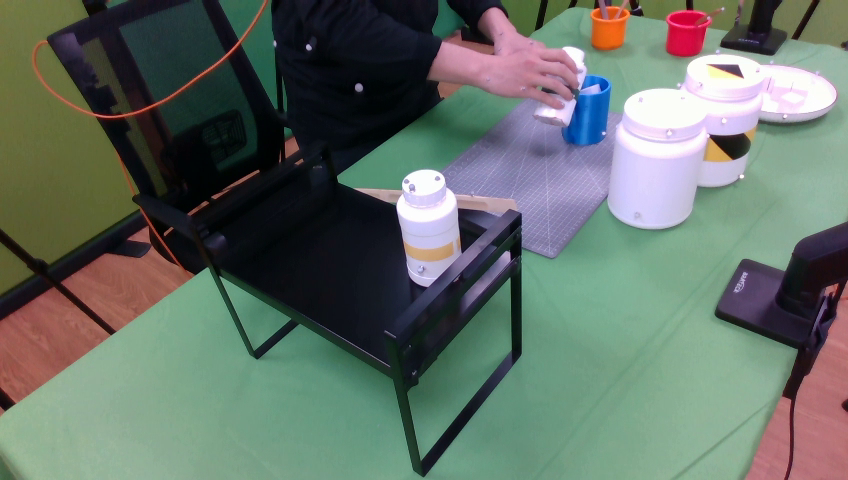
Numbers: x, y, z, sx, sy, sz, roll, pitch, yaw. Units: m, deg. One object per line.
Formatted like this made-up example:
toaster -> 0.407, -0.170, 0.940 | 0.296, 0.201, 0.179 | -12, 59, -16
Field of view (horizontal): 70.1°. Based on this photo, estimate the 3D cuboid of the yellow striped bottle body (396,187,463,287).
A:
yellow striped bottle body -> 0.006, -0.013, 0.638 | 0.063, 0.121, 0.062 | -5, 41, 5

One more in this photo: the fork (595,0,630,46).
fork -> 0.480, -0.556, 1.453 | 0.028, 0.019, 0.207 | 41, 103, 40

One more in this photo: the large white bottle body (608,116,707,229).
large white bottle body -> 0.361, -0.124, 0.942 | 0.130, 0.185, 0.130 | -5, 41, 5

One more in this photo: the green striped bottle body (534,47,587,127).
green striped bottle body -> 0.228, -0.253, 0.999 | 0.063, 0.119, 0.063 | 16, 5, -1

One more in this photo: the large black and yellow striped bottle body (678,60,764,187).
large black and yellow striped bottle body -> 0.482, -0.196, 1.008 | 0.131, 0.185, 0.130 | -4, 41, 4

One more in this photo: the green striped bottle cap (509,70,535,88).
green striped bottle cap -> 0.176, -0.288, 1.077 | 0.044, 0.020, 0.044 | 12, 2, 0

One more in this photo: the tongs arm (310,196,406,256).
tongs arm -> -0.078, -0.012, 0.943 | 0.028, 0.028, 0.384 | -42, 39, -23

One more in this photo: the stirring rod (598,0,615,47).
stirring rod -> 0.437, -0.551, 1.462 | 0.014, 0.006, 0.175 | -11, 83, 1

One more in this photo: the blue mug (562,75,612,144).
blue mug -> 0.298, -0.239, 1.143 | 0.081, 0.106, 0.117 | 30, 54, 36

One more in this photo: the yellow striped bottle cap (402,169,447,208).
yellow striped bottle cap -> 0.000, -0.052, 0.605 | 0.044, 0.019, 0.044 | -4, 43, 5

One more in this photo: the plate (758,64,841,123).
plate -> 0.694, -0.283, 1.189 | 0.207, 0.039, 0.206 | -4, 40, 4

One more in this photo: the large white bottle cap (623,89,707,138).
large white bottle cap -> 0.352, -0.187, 0.886 | 0.115, 0.018, 0.114 | -4, 41, 4

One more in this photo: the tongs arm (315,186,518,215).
tongs arm -> -0.028, -0.060, 0.988 | 0.382, 0.027, 0.051 | 9, 44, 36

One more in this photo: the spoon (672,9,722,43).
spoon -> 0.606, -0.476, 1.345 | 0.042, 0.021, 0.193 | -6, -3, -2

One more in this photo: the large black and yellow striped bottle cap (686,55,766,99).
large black and yellow striped bottle cap -> 0.474, -0.258, 0.952 | 0.115, 0.019, 0.114 | -5, 41, 5
